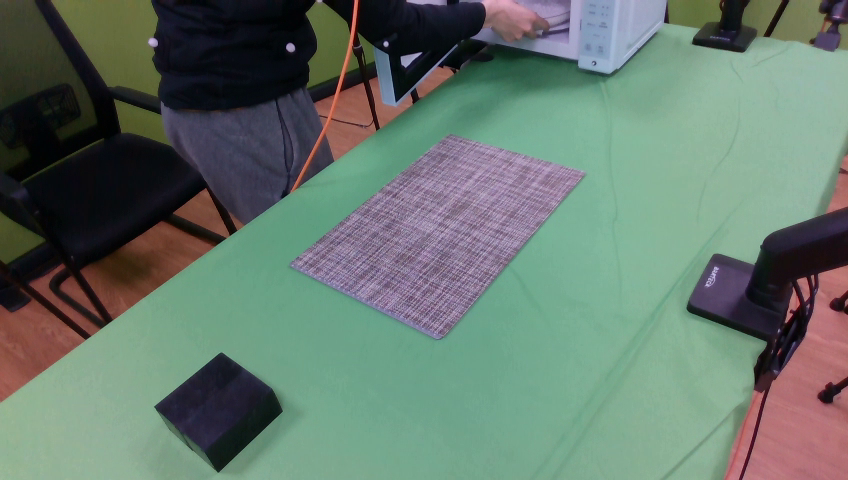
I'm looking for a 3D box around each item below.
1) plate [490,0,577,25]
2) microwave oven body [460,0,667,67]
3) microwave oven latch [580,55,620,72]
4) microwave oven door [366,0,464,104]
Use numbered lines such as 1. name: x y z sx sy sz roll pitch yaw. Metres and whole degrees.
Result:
1. plate: 0.264 -0.568 1.458 0.209 0.038 0.208 -5 42 5
2. microwave oven body: 0.324 -0.609 1.437 0.438 0.261 0.327 22 50 31
3. microwave oven latch: 0.386 -0.393 1.330 0.078 0.029 0.030 25 51 32
4. microwave oven door: -0.009 -0.497 1.348 0.039 0.245 0.356 15 46 24
